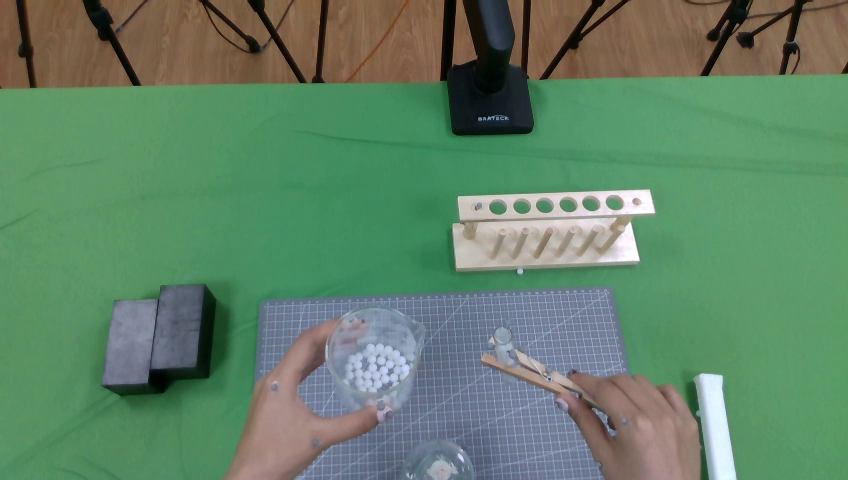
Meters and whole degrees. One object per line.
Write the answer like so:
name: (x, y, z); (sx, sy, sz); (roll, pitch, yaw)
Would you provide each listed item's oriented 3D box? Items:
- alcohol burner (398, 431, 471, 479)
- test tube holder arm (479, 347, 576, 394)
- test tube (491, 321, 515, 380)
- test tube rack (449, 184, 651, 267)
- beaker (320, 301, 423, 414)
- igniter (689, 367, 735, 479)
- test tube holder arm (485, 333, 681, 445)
alcohol burner: (0.013, 0.236, 0.629); (0.078, 0.120, 0.077); (2, 63, -3)
test tube holder arm: (0.089, 0.113, 0.524); (0.087, 0.015, 0.010); (19, 75, 11)
test tube: (0.070, 0.099, 0.527); (0.017, 0.151, 0.017); (-4, 65, 8)
test tube rack: (0.158, -0.017, 0.775); (0.243, 0.086, 0.066); (-2, 65, -4)
beaker: (-0.042, 0.102, 0.513); (0.084, 0.101, 0.073); (-23, 67, -16)
igniter: (0.332, 0.280, 0.678); (0.057, 0.025, 0.274); (8, 64, -10)
test tube holder arm: (0.132, 0.126, 0.516); (0.177, 0.015, 0.013); (26, 77, 13)
